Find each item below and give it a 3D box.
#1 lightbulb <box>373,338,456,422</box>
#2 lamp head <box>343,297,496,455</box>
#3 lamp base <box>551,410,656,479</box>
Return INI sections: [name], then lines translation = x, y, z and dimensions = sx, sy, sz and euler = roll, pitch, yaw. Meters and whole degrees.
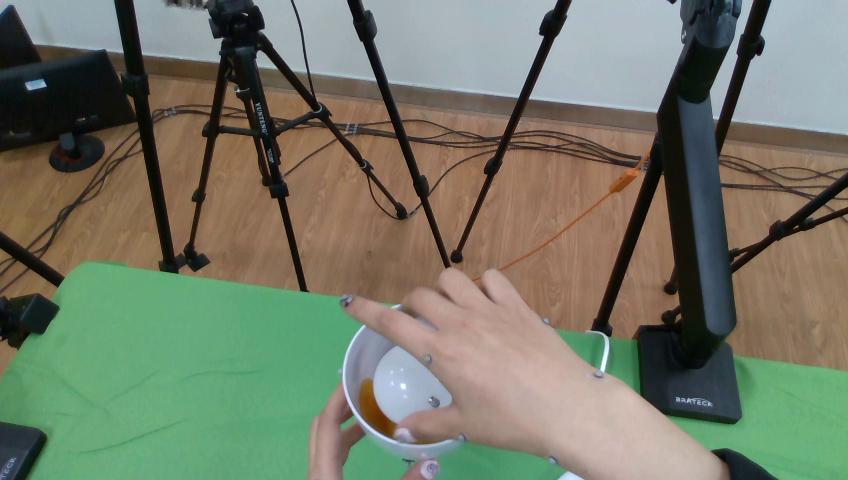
[lightbulb]
translation = -0.006, 0.112, 0.459
dimensions = 0.059, 0.108, 0.059
euler = 0, 62, 1
[lamp head]
translation = 0.001, 0.120, 0.483
dimensions = 0.112, 0.124, 0.111
euler = -2, 57, 4
[lamp base]
translation = 0.204, 0.260, 0.612
dimensions = 0.161, 0.182, 0.177
euler = -4, 50, -4
